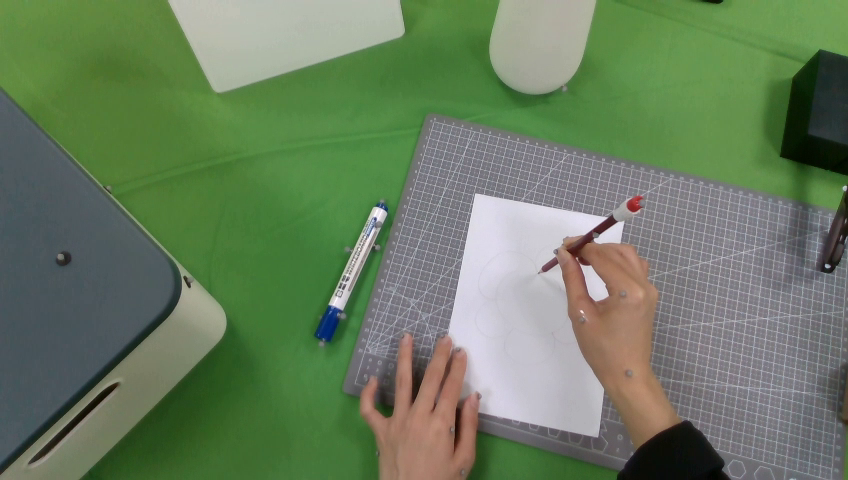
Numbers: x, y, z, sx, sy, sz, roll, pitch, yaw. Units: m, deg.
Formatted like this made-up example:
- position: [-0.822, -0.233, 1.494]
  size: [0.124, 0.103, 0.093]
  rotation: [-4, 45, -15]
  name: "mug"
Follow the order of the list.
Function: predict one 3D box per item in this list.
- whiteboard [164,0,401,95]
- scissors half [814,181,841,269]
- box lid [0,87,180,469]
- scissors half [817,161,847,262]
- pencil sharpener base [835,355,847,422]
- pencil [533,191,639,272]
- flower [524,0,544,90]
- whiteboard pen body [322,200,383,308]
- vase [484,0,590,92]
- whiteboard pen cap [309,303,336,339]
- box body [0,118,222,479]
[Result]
- position: [-0.165, -0.332, 0.576]
  size: [0.217, 0.308, 0.142]
  rotation: [-19, 54, -5]
  name: "whiteboard"
- position: [0.403, -0.056, 0.581]
  size: [0.012, 0.040, 0.175]
  rotation: [17, 92, 29]
  name: "scissors half"
- position: [-0.386, 0.002, 0.436]
  size: [0.370, 0.015, 0.263]
  rotation: [41, 76, 11]
  name: "box lid"
- position: [0.395, -0.061, 0.563]
  size: [0.013, 0.040, 0.174]
  rotation: [17, 75, 24]
  name: "scissors half"
- position: [0.417, 0.131, 0.507]
  size: [0.076, 0.107, 0.061]
  rotation: [18, 73, 2]
  name: "pencil sharpener base"
- position: [0.124, 0.000, 0.497]
  size: [0.012, 0.194, 0.012]
  rotation: [3, 71, -10]
  name: "pencil"
- position: [0.107, -0.267, 0.494]
  size: [0.044, 0.365, 0.038]
  rotation: [8, 55, 6]
  name: "flower"
- position: [-0.073, 0.023, 0.584]
  size: [0.017, 0.017, 0.140]
  rotation: [21, 72, 7]
  name: "whiteboard pen body"
- position: [0.111, -0.227, 0.569]
  size: [0.098, 0.201, 0.097]
  rotation: [0, 71, 1]
  name: "vase"
- position: [-0.093, 0.075, 0.566]
  size: [0.018, 0.018, 0.033]
  rotation: [21, 70, 7]
  name: "whiteboard pen cap"
- position: [-0.384, 0.026, 0.507]
  size: [0.362, 0.161, 0.254]
  rotation: [41, 77, 11]
  name: "box body"
